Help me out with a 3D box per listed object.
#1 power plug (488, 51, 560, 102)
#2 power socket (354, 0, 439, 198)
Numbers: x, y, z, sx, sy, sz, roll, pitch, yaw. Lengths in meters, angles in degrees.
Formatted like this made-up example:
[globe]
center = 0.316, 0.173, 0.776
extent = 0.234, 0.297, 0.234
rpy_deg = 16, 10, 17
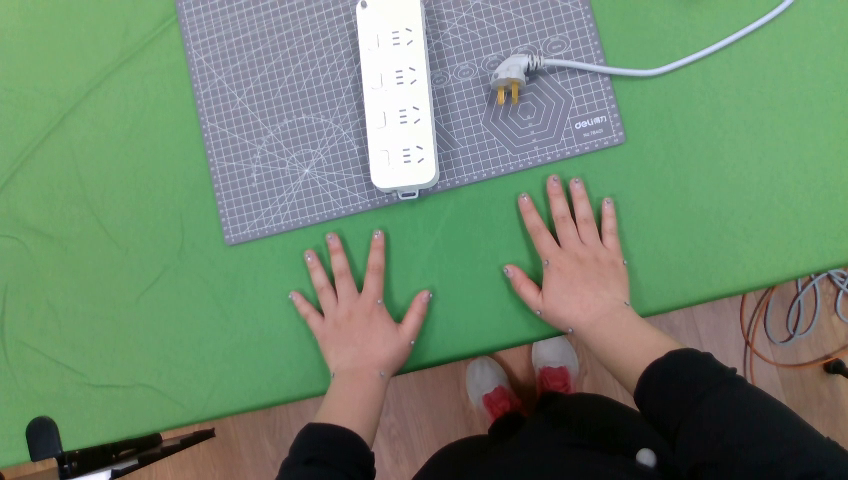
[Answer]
[power plug]
center = 0.102, -0.169, 0.625
extent = 0.072, 0.035, 0.052
rpy_deg = -3, 79, 19
[power socket]
center = -0.030, -0.159, 0.648
extent = 0.072, 0.032, 0.226
rpy_deg = -6, 86, 7
